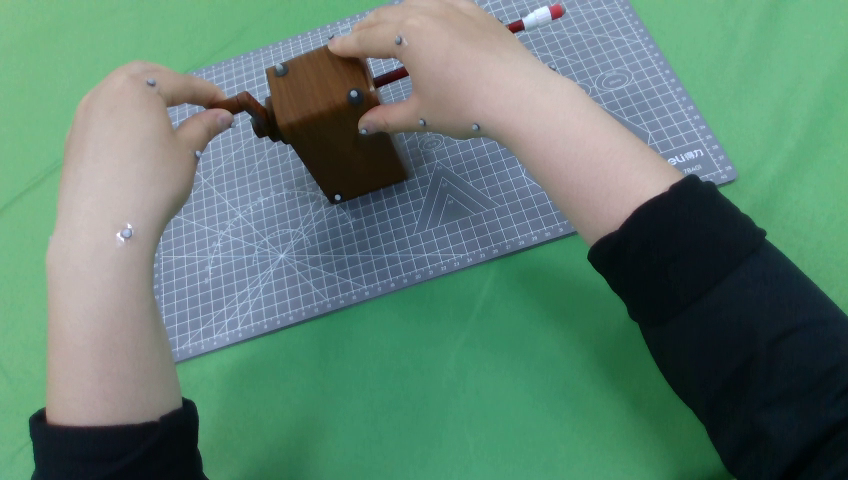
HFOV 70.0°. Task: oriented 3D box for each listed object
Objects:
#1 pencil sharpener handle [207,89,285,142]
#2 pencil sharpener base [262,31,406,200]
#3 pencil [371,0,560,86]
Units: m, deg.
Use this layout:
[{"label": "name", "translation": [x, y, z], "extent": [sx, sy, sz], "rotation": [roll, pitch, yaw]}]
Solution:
[{"label": "pencil sharpener handle", "translation": [-0.122, -0.084, 0.419], "extent": [0.030, 0.068, 0.036], "rotation": [-21, 79, 3]}, {"label": "pencil sharpener base", "translation": [-0.066, -0.088, 0.457], "extent": [0.077, 0.108, 0.061], "rotation": [-21, 60, 3]}, {"label": "pencil", "translation": [0.004, -0.128, 0.427], "extent": [0.194, 0.012, 0.012], "rotation": [-21, 60, 3]}]
